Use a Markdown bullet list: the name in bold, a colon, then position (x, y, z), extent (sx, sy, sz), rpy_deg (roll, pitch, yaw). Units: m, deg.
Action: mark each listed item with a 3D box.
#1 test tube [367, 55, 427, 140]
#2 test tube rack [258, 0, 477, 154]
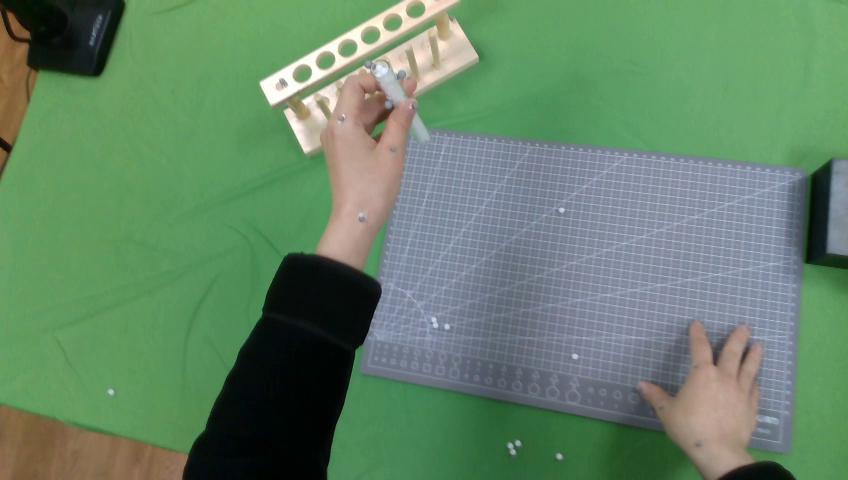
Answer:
- **test tube**: position (-0.019, -0.115, 0.514), extent (0.017, 0.151, 0.017), rpy_deg (-2, 79, 12)
- **test tube rack**: position (-0.062, -0.201, 0.714), extent (0.242, 0.086, 0.066), rpy_deg (-29, 74, 2)
